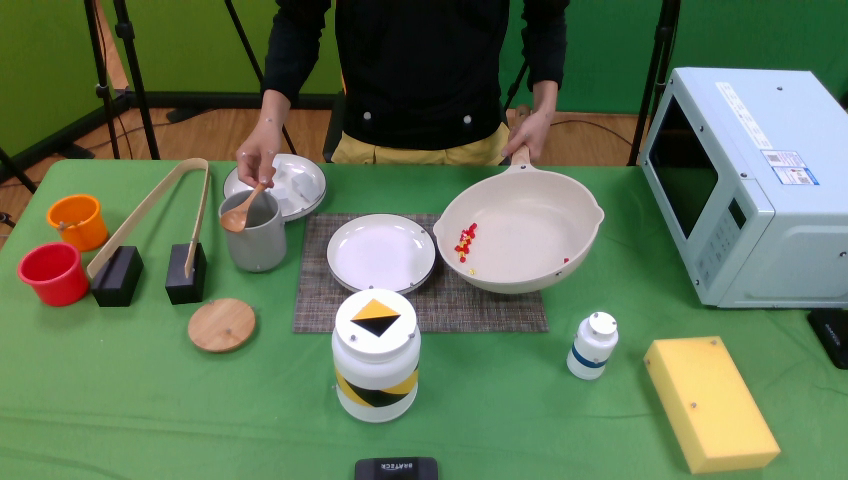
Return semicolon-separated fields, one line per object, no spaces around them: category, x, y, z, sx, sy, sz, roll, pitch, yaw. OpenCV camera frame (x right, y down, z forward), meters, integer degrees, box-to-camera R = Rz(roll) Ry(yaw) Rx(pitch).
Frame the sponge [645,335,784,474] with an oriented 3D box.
sponge;0.449;0.253;0.956;0.118;0.061;0.205;-4;46;-7

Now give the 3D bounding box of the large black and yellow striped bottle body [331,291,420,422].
large black and yellow striped bottle body;-0.072;0.175;0.911;0.131;0.185;0.130;2;47;-2

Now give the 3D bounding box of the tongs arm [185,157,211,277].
tongs arm;-0.446;-0.057;1.168;0.051;0.026;0.382;-5;37;-6

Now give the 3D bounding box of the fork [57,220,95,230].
fork;-0.624;-0.027;1.086;0.028;0.207;0.018;-2;92;-17

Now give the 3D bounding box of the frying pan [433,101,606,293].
frying pan;0.186;-0.099;1.154;0.306;0.103;0.485;-2;53;18

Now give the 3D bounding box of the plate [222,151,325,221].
plate;-0.310;-0.106;1.263;0.208;0.039;0.206;2;47;-2

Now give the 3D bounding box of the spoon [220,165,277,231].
spoon;-0.303;-0.078;1.074;0.042;0.022;0.193;32;45;-9

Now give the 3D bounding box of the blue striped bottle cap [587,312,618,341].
blue striped bottle cap;0.279;0.134;0.946;0.044;0.021;0.044;2;45;-2

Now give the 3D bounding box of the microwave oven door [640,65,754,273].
microwave oven door;0.523;-0.147;1.193;0.039;0.245;0.353;0;47;-3

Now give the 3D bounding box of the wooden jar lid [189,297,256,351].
wooden jar lid;-0.342;0.145;1.033;0.108;0.021;0.107;3;45;-2

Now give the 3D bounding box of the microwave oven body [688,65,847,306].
microwave oven body;0.669;-0.111;1.176;0.326;0.261;0.439;0;46;-3

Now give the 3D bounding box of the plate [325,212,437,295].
plate;-0.081;0.030;1.143;0.209;0.038;0.208;3;46;-3

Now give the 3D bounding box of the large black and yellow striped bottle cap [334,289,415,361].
large black and yellow striped bottle cap;-0.069;0.117;0.850;0.115;0.019;0.114;2;45;-2

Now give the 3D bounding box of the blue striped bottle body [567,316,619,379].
blue striped bottle body;0.276;0.168;0.984;0.063;0.121;0.062;2;46;-2

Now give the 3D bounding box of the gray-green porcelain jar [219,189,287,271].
gray-green porcelain jar;-0.310;-0.014;1.113;0.106;0.127;0.105;2;46;-2

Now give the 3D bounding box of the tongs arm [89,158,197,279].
tongs arm;-0.530;-0.057;1.164;0.028;0.028;0.385;1;36;8

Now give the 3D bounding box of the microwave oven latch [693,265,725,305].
microwave oven latch;0.523;0.082;1.116;0.030;0.029;0.078;2;46;-1
